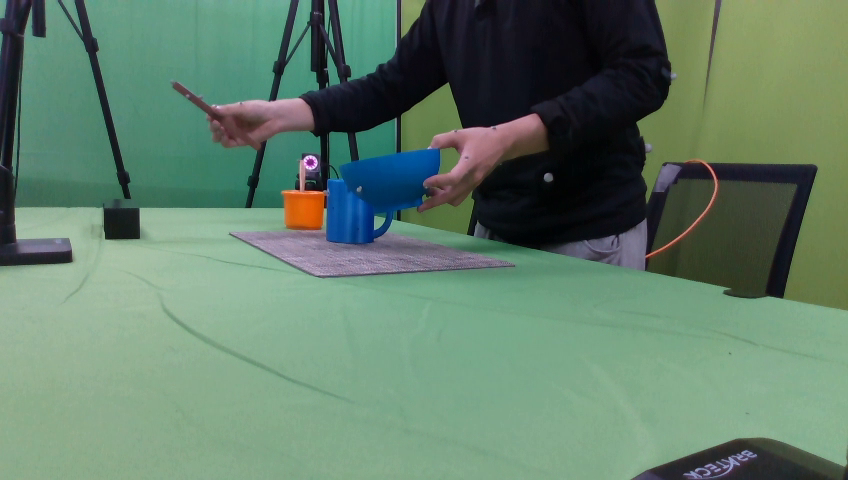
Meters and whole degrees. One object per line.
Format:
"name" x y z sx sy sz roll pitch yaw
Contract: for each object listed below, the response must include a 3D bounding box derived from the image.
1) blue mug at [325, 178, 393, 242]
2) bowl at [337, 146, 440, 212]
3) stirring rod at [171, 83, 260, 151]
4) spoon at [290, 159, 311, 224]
"blue mug" -0.111 -0.052 1.034 0.116 0.106 0.082 3 7 7
"bowl" -0.045 -0.084 0.880 0.151 0.077 0.151 -10 5 1
"stirring rod" -0.361 -0.213 1.050 0.176 0.014 0.006 37 -3 -10
"spoon" -0.256 -0.104 1.265 0.042 0.193 0.021 0 -37 -9
